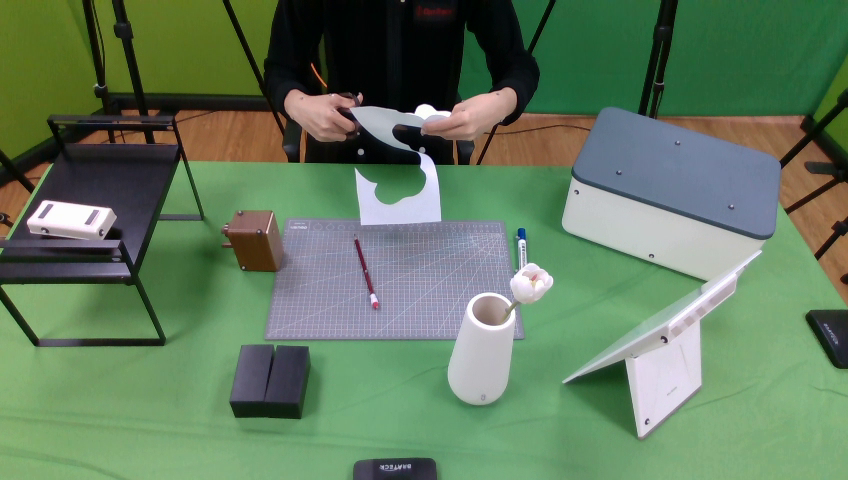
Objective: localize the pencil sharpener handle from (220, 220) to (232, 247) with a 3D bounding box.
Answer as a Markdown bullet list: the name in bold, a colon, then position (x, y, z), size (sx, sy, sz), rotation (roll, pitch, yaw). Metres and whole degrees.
- **pencil sharpener handle**: position (-0.362, -0.009, 1.105), size (0.030, 0.068, 0.036), rotation (1, 52, 1)

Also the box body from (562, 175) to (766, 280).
- **box body**: position (0.486, -0.088, 1.222), size (0.363, 0.161, 0.253), rotation (20, 48, 15)

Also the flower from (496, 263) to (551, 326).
- **flower**: position (0.102, 0.121, 0.853), size (0.044, 0.363, 0.038), rotation (-2, 64, -10)

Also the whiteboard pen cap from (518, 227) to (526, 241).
- **whiteboard pen cap**: position (0.197, -0.009, 1.220), size (0.018, 0.018, 0.033), rotation (5, 51, 1)

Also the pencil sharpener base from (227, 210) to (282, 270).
- **pencil sharpener base**: position (-0.311, 0.001, 1.112), size (0.077, 0.107, 0.061), rotation (1, 47, 1)

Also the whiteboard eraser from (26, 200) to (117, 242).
- **whiteboard eraser**: position (-0.532, -0.026, 0.919), size (0.113, 0.042, 0.055), rotation (7, 45, 3)

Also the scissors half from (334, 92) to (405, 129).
- **scissors half**: position (-0.097, -0.224, 1.060), size (0.174, 0.040, 0.013), rotation (30, 37, 31)

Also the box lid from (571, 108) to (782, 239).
- **box lid**: position (0.491, -0.139, 1.168), size (0.370, 0.015, 0.262), rotation (21, 49, 15)

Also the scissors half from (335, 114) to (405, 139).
- **scissors half**: position (-0.097, -0.203, 1.068), size (0.174, 0.040, 0.013), rotation (2, 15, 42)

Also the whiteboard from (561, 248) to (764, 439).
- **whiteboard**: position (0.386, 0.176, 0.905), size (0.217, 0.306, 0.143), rotation (-26, 72, -27)

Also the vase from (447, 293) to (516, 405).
- **vase**: position (0.091, 0.169, 0.921), size (0.098, 0.201, 0.097), rotation (3, 47, -3)

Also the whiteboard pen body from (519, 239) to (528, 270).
- **whiteboard pen body**: position (0.193, 0.035, 1.181), size (0.017, 0.017, 0.140), rotation (6, 48, 1)

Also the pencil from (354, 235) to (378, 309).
- **pencil**: position (-0.113, 0.055, 1.143), size (0.012, 0.012, 0.192), rotation (-10, 46, -13)
